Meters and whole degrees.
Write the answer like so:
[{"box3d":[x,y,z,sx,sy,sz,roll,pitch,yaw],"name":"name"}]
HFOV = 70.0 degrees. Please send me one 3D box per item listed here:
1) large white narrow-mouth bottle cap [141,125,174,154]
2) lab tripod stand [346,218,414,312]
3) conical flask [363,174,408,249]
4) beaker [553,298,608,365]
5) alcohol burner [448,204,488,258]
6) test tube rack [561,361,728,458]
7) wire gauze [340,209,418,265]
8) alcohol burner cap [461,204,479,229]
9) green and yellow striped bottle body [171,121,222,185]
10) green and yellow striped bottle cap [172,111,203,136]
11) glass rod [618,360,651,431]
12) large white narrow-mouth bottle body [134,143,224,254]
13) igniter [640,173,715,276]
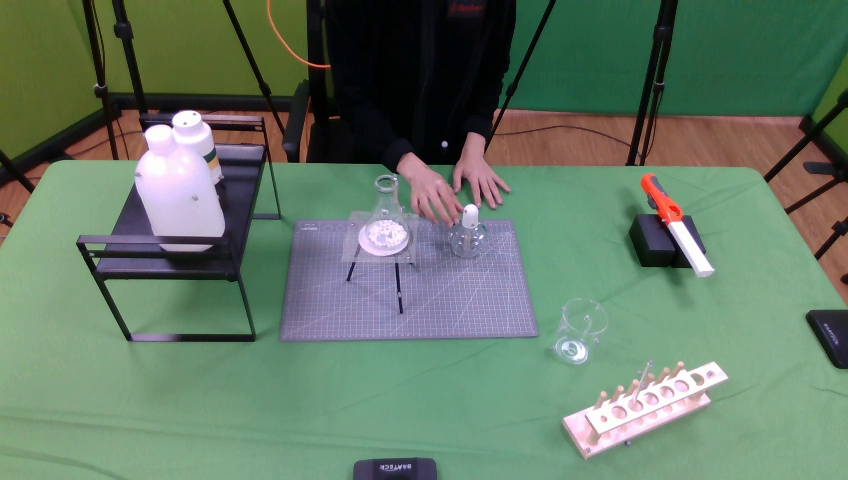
[{"box3d":[-0.356,-0.134,0.810,0.038,0.024,0.037,2,48,-2],"name":"large white narrow-mouth bottle cap"},{"box3d":[-0.070,0.037,1.075,0.148,0.132,0.147,1,47,-1],"name":"lab tripod stand"},{"box3d":[-0.063,-0.050,0.985,0.075,0.122,0.075,2,46,-1],"name":"conical flask"},{"box3d":[0.260,0.154,1.015,0.073,0.101,0.084,37,54,27],"name":"beaker"},{"box3d":[0.085,-0.023,1.159,0.078,0.120,0.077,1,47,-1],"name":"alcohol burner"},{"box3d":[0.341,0.248,0.940,0.243,0.085,0.066,-15,49,-18],"name":"test tube rack"},{"box3d":[-0.074,-0.006,1.024,0.121,0.011,0.124,2,48,1],"name":"wire gauze"},{"box3d":[0.087,-0.047,1.131,0.034,0.048,0.033,0,53,0],"name":"alcohol burner cap"},{"box3d":[-0.375,-0.149,0.995,0.063,0.120,0.063,2,46,-2],"name":"green and yellow striped bottle body"},{"box3d":[-0.374,-0.185,0.958,0.045,0.020,0.045,4,46,-4],"name":"green and yellow striped bottle cap"},{"box3d":[0.298,0.227,0.865,0.008,0.201,0.008,-2,47,2],"name":"glass rod"},{"box3d":[-0.358,-0.075,0.875,0.102,0.195,0.101,1,48,-1],"name":"large white narrow-mouth bottle body"},{"box3d":[0.495,-0.039,1.204,0.057,0.025,0.274,-2,47,-12],"name":"igniter"}]
